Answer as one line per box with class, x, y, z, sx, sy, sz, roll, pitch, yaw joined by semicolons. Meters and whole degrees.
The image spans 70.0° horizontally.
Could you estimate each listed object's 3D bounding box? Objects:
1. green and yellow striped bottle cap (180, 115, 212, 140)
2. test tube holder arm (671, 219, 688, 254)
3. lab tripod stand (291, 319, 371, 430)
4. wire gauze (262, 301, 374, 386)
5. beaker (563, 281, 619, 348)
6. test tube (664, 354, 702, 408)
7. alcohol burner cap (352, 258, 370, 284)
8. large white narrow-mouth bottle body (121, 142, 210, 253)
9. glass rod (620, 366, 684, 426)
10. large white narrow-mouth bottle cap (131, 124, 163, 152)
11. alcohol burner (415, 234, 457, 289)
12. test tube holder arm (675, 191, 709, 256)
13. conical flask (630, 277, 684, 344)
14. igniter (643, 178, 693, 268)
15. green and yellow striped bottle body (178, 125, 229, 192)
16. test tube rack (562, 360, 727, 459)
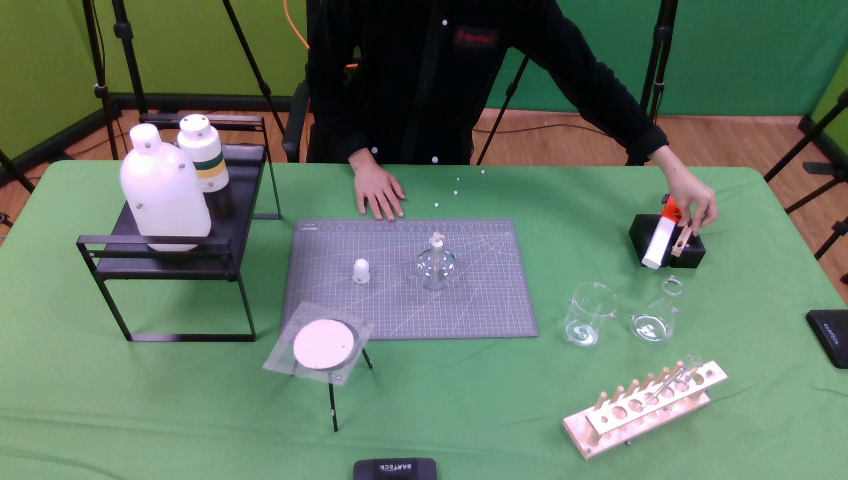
green and yellow striped bottle cap;-0.358;-0.177;0.951;0.045;0.020;0.045;2;44;-1
test tube holder arm;0.495;-0.007;1.165;0.010;0.015;0.087;27;59;21
lab tripod stand;-0.146;0.194;0.923;0.148;0.132;0.147;1;47;-1
wire gauze;-0.150;0.148;0.873;0.121;0.011;0.124;14;46;12
beaker;0.283;0.129;1.041;0.074;0.101;0.083;11;46;6
test tube;0.385;0.215;0.906;0.017;0.151;0.017;-1;49;1
alcohol burner cap;-0.117;0.055;1.118;0.034;0.048;0.033;1;46;-1
large white narrow-mouth bottle body;-0.378;-0.078;0.875;0.102;0.195;0.101;3;46;-3
glass rod;0.322;0.227;0.866;0.008;0.200;0.008;5;51;-7
large white narrow-mouth bottle cap;-0.371;-0.137;0.812;0.038;0.024;0.037;3;46;-3
alcohol burner;0.022;0.033;1.099;0.078;0.120;0.077;1;47;0
test tube holder arm;0.525;-0.035;1.185;0.013;0.015;0.178;28;59;21
conical flask;0.408;0.117;1.045;0.075;0.122;0.075;2;46;-2
igniter;0.488;-0.042;1.205;0.057;0.025;0.276;30;51;11
green and yellow striped bottle body;-0.361;-0.142;0.989;0.063;0.120;0.063;2;46;-2
test tube rack;0.341;0.247;0.940;0.243;0.085;0.066;-16;49;-18
